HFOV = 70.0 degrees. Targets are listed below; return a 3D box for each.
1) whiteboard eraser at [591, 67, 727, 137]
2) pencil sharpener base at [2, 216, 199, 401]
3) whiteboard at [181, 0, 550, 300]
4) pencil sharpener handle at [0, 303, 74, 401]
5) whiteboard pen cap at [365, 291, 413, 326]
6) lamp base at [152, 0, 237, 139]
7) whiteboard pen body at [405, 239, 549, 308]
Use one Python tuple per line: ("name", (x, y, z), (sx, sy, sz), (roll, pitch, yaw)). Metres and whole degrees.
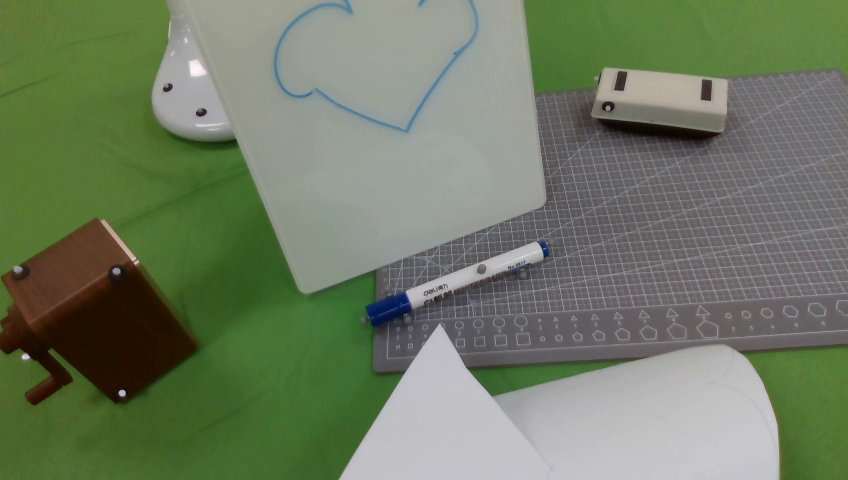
("whiteboard eraser", (0.212, -0.124, 0.548), (0.112, 0.042, 0.055), (11, 54, 14))
("pencil sharpener base", (-0.216, 0.050, 0.412), (0.076, 0.108, 0.061), (-38, 57, -22))
("whiteboard", (-0.047, -0.147, 0.465), (0.217, 0.308, 0.142), (-20, 32, -9))
("pencil sharpener handle", (-0.252, 0.073, 0.381), (0.030, 0.068, 0.035), (-39, 44, -22))
("whiteboard pen cap", (-0.025, 0.050, 0.444), (0.033, 0.018, 0.018), (-21, 52, -9))
("lamp base", (-0.219, -0.216, 0.581), (0.177, 0.182, 0.160), (30, 60, 29))
("whiteboard pen body", (0.029, 0.029, 0.454), (0.141, 0.017, 0.017), (-20, 51, -9))
